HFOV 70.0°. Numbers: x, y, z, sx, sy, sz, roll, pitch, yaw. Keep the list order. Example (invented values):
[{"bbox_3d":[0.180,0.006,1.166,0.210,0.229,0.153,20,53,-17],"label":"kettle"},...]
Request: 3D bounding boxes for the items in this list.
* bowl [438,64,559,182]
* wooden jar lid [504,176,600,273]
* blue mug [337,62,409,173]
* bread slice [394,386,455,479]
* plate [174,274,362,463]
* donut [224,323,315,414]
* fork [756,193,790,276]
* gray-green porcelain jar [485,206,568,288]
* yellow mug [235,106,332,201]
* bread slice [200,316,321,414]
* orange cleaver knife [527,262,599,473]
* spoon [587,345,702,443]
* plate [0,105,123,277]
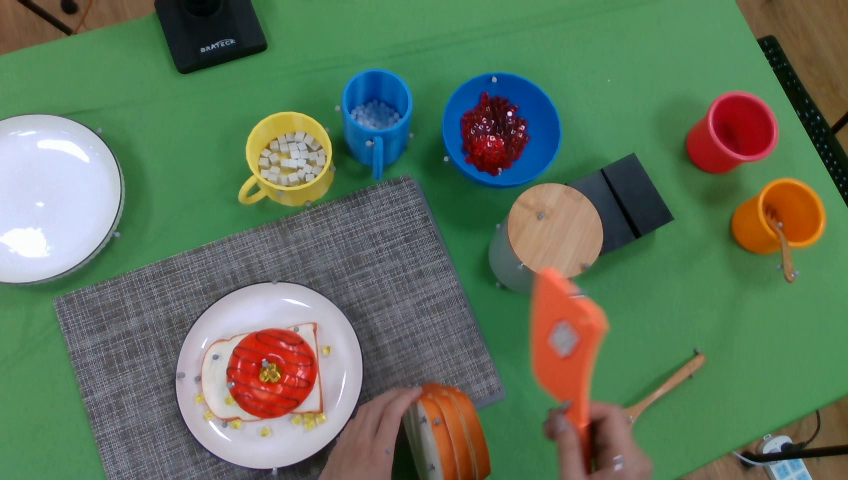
[{"bbox_3d":[0.088,-0.137,0.774,0.151,0.077,0.150,1,77,-6],"label":"bowl"},{"bbox_3d":[0.138,-0.016,0.662,0.108,0.021,0.108,2,78,-9],"label":"wooden jar lid"},{"bbox_3d":[-0.063,-0.140,0.743,0.082,0.106,0.116,-1,77,-6],"label":"blue mug"},{"bbox_3d":[0.000,0.207,0.656,0.018,0.134,0.106,-14,77,-17],"label":"bread slice"},{"bbox_3d":[-0.175,0.144,0.695,0.209,0.038,0.208,2,77,-6],"label":"plate"},{"bbox_3d":[-0.170,0.140,0.668,0.099,0.048,0.098,2,78,-9],"label":"donut"},{"bbox_3d":[0.432,-0.011,0.747,0.028,0.018,0.206,41,32,-2],"label":"fork"},{"bbox_3d":[0.133,-0.001,0.723,0.106,0.127,0.105,2,76,-6],"label":"gray-green porcelain jar"},{"bbox_3d":[-0.177,-0.094,0.740,0.131,0.064,0.099,-43,84,-12],"label":"yellow mug"},{"bbox_3d":[-0.188,0.148,0.697,0.132,0.019,0.104,-7,77,-12],"label":"bread slice"},{"bbox_3d":[0.115,0.113,0.511,0.012,0.213,0.076,-28,37,-26],"label":"orange cleaver knife"},{"bbox_3d":[0.277,0.187,0.749,0.194,0.022,0.041,-32,64,-12],"label":"spoon"},{"bbox_3d":[-0.461,-0.056,0.713,0.208,0.039,0.206,2,77,-6],"label":"plate"}]
